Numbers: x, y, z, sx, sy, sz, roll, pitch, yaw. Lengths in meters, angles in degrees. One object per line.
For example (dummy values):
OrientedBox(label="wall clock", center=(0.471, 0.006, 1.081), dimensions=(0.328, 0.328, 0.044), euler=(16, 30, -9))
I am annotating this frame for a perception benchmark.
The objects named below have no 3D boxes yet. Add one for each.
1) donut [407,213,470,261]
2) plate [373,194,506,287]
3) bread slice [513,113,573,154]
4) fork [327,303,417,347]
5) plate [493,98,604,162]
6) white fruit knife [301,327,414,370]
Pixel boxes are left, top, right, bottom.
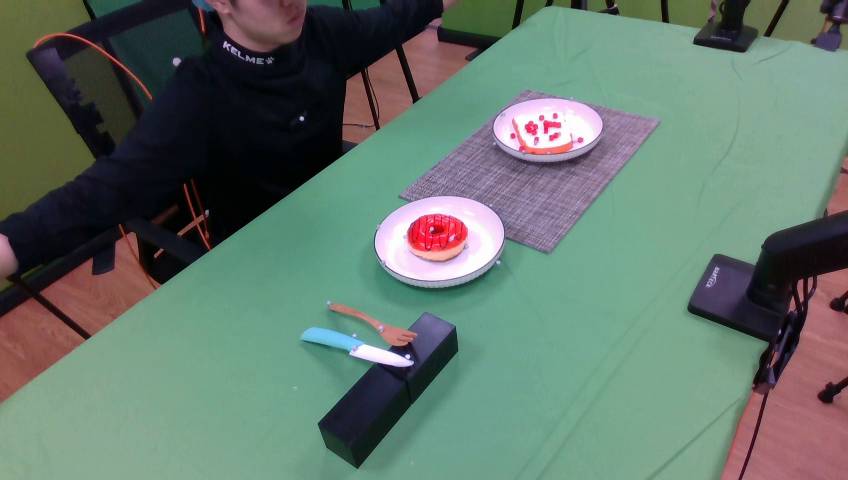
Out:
OrientedBox(label="donut", center=(0.022, -0.006, 0.944), dimensions=(0.099, 0.048, 0.098), euler=(-4, 38, 3))
OrientedBox(label="plate", center=(0.025, 0.003, 0.951), dimensions=(0.207, 0.039, 0.206), euler=(-4, 41, 4))
OrientedBox(label="bread slice", center=(0.233, -0.205, 1.160), dimensions=(0.105, 0.019, 0.131), euler=(-7, 40, 1))
OrientedBox(label="fork", center=(-0.077, 0.110, 0.811), dimensions=(0.028, 0.019, 0.205), euler=(-41, 33, -26))
OrientedBox(label="plate", center=(0.237, -0.207, 1.158), dimensions=(0.209, 0.038, 0.208), euler=(-4, 40, 4))
OrientedBox(label="white fruit knife", center=(-0.088, 0.140, 0.781), dimensions=(0.205, 0.016, 0.027), euler=(8, 42, 42))
